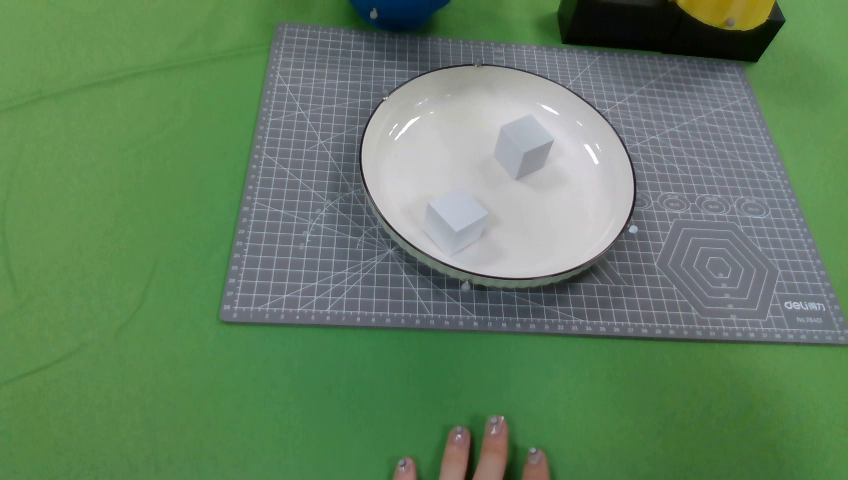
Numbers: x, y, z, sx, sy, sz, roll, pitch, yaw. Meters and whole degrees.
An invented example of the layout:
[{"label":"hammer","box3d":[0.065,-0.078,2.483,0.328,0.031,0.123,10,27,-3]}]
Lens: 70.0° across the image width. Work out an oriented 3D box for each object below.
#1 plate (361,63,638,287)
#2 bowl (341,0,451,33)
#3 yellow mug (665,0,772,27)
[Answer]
[{"label":"plate","box3d":[0.056,-0.051,0.465,0.208,0.039,0.205,3,57,-5]},{"label":"bowl","box3d":[-0.029,-0.247,0.559,0.151,0.077,0.150,3,57,-5]},{"label":"yellow mug","box3d":[0.262,-0.246,0.542,0.131,0.064,0.099,-11,59,-13]}]
